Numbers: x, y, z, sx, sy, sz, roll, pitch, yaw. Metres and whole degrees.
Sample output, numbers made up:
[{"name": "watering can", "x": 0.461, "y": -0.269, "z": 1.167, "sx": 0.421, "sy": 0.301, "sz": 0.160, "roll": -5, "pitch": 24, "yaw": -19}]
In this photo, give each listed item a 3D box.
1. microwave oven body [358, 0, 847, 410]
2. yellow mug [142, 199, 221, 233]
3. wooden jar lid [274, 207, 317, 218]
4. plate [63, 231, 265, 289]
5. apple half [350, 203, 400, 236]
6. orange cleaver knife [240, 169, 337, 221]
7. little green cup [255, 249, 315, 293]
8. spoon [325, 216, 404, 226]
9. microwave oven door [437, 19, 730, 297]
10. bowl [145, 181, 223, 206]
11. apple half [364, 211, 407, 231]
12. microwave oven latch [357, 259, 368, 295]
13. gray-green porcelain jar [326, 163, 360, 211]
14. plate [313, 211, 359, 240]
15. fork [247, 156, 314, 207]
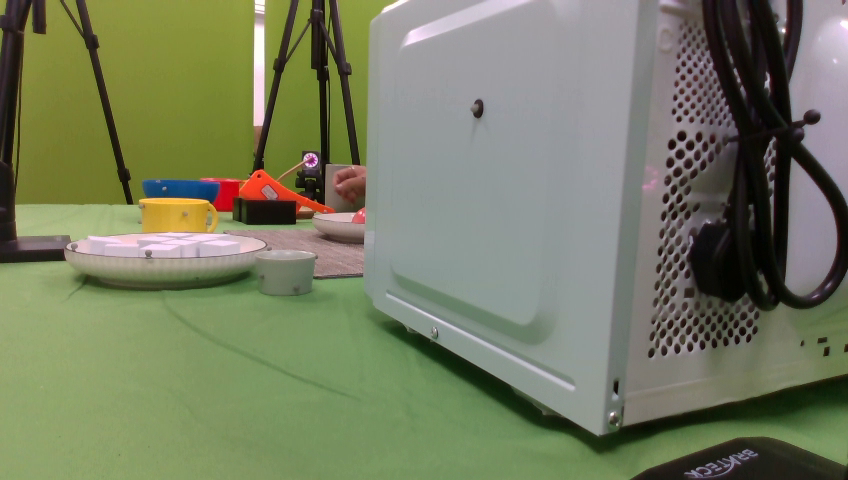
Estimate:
[{"name": "microwave oven body", "x": 0.210, "y": -0.051, "z": 0.471, "sx": 0.444, "sy": 0.260, "sz": 0.324, "roll": -1, "pitch": 7, "yaw": -28}, {"name": "yellow mug", "x": -0.373, "y": -0.030, "z": 0.948, "sx": 0.099, "sy": 0.064, "sz": 0.131, "roll": 6, "pitch": 7, "yaw": 30}, {"name": "wooden jar lid", "x": -0.303, "y": -0.065, "z": 1.409, "sx": 0.108, "sy": 0.020, "sz": 0.108, "roll": 3, "pitch": 9, "yaw": 0}, {"name": "plate", "x": -0.288, "y": 0.021, "z": 0.687, "sx": 0.208, "sy": 0.039, "sz": 0.207, "roll": 2, "pitch": 8, "yaw": 0}, {"name": "apple half", "x": -0.081, "y": -0.036, "z": 1.024, "sx": 0.081, "sy": 0.053, "sz": 0.074, "roll": -3, "pitch": 11, "yaw": -33}, {"name": "orange cleaver knife", "x": -0.287, "y": -0.081, "z": 1.299, "sx": 0.212, "sy": 0.077, "sz": 0.012, "roll": 25, "pitch": -3, "yaw": -31}, {"name": "little green cup", "x": -0.144, "y": 0.032, "z": 0.627, "sx": 0.061, "sy": 0.038, "sz": 0.061, "roll": 2, "pitch": 5, "yaw": 0}, {"name": "spoon", "x": -0.120, "y": -0.043, "z": 1.273, "sx": 0.195, "sy": 0.021, "sz": 0.041, "roll": -5, "pitch": -16, "yaw": -39}, {"name": "microwave oven door", "x": 0.180, "y": -0.076, "z": 0.618, "sx": 0.358, "sy": 0.243, "sz": 0.039, "roll": -2, "pitch": 9, "yaw": -28}, {"name": "bowl", "x": -0.499, "y": -0.081, "z": 1.261, "sx": 0.151, "sy": 0.077, "sz": 0.151, "roll": 2, "pitch": 7, "yaw": 0}, {"name": "apple half", "x": -0.068, "y": -0.037, "z": 1.104, "sx": 0.081, "sy": 0.033, "sz": 0.081, "roll": -1, "pitch": 9, "yaw": 0}, {"name": "microwave oven latch", "x": -0.019, "y": 0.031, "z": 0.529, "sx": 0.079, "sy": 0.029, "sz": 0.030, "roll": -1, "pitch": 7, "yaw": -26}, {"name": "gray-green porcelain jar", "x": -0.187, "y": -0.125, "z": 1.488, "sx": 0.106, "sy": 0.126, "sz": 0.106, "roll": 2, "pitch": 8, "yaw": 0}, {"name": "plate", "x": -0.091, "y": -0.026, "z": 1.063, "sx": 0.209, "sy": 0.038, "sz": 0.209, "roll": 2, "pitch": 7, "yaw": 0}, {"name": "fork", "x": -0.360, "y": -0.147, "z": 1.523, "sx": 0.207, "sy": 0.019, "sz": 0.028, "roll": -43, "pitch": 16, "yaw": -6}]
